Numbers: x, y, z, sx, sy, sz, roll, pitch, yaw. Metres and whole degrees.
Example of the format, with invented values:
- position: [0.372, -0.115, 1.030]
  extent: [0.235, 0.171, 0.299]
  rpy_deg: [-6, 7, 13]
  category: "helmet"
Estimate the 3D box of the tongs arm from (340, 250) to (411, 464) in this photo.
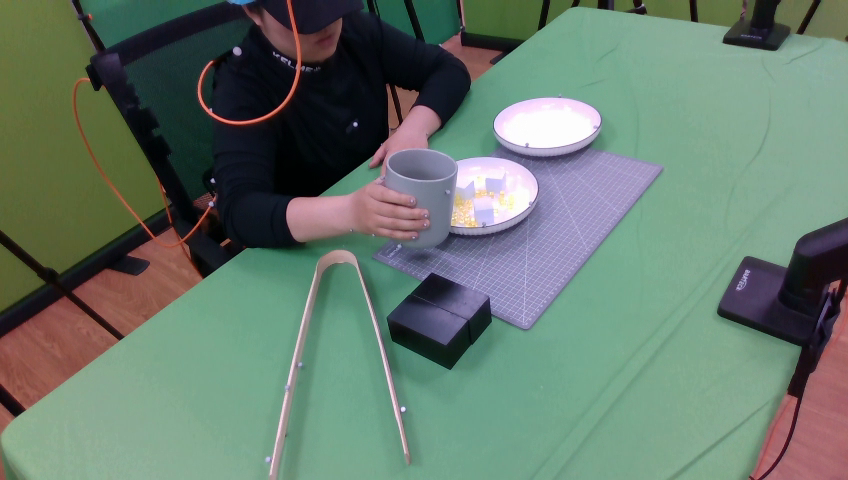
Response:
- position: [-0.071, 0.136, 0.830]
  extent: [0.028, 0.028, 0.384]
  rpy_deg: [-18, 40, -6]
  category: "tongs arm"

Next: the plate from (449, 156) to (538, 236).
- position: [0.090, -0.072, 1.034]
  extent: [0.207, 0.039, 0.206]
  rpy_deg: [-5, 40, 5]
  category: "plate"

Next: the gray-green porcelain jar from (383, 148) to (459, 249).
- position: [-0.007, -0.058, 0.902]
  extent: [0.106, 0.127, 0.105]
  rpy_deg: [4, 34, -2]
  category: "gray-green porcelain jar"

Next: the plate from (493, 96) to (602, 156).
- position: [0.238, -0.218, 1.180]
  extent: [0.209, 0.038, 0.208]
  rpy_deg: [-4, 39, 4]
  category: "plate"

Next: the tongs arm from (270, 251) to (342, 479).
- position: [-0.153, 0.148, 0.826]
  extent: [0.051, 0.026, 0.382]
  rpy_deg: [-6, 39, 3]
  category: "tongs arm"
